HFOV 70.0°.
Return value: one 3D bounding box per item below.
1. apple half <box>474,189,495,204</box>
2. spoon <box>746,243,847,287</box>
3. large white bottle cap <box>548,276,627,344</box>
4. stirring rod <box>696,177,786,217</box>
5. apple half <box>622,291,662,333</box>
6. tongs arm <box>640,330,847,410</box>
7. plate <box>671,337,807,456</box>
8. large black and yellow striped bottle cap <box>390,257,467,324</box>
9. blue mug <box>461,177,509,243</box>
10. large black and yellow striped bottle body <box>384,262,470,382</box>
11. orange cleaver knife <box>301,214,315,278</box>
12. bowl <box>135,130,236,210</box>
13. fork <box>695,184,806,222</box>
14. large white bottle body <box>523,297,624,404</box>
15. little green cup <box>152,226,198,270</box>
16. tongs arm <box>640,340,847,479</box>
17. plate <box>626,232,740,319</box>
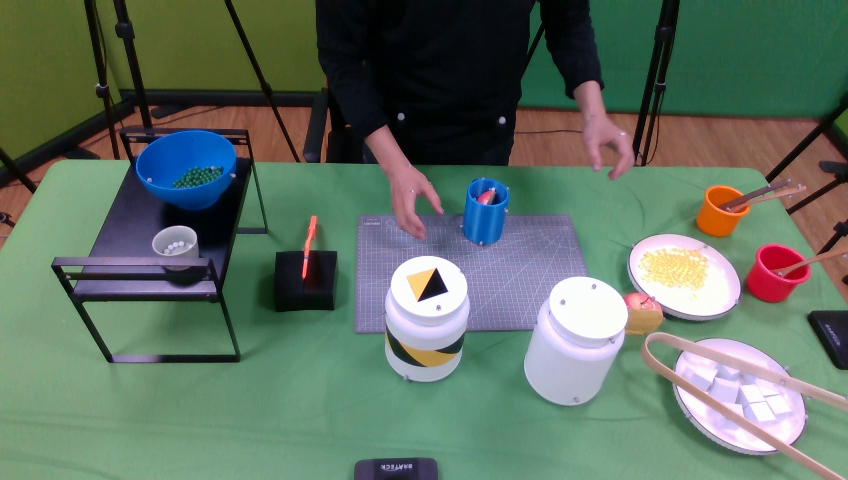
[{"bbox_3d":[0.110,-0.067,1.200,0.032,0.081,0.081,27,50,11],"label":"apple half"},{"bbox_3d":[0.702,0.044,1.126,0.194,0.022,0.041,-29,38,30],"label":"spoon"},{"bbox_3d":[0.240,0.100,0.890,0.115,0.018,0.114,3,47,-3],"label":"large white bottle cap"},{"bbox_3d":[0.648,-0.087,1.244,0.176,0.006,0.014,-25,51,29],"label":"stirring rod"},{"bbox_3d":[0.372,0.124,1.073,0.081,0.075,0.053,0,42,1],"label":"apple half"},{"bbox_3d":[0.543,0.225,0.969,0.384,0.026,0.050,22,52,13],"label":"tongs arm"},{"bbox_3d":[0.504,0.254,0.984,0.208,0.039,0.206,2,46,-2],"label":"plate"},{"bbox_3d":[0.007,0.072,0.898,0.115,0.019,0.114,2,47,-2],"label":"large black and yellow striped bottle cap"},{"bbox_3d":[0.114,-0.069,1.211,0.082,0.106,0.115,-12,48,-15],"label":"blue mug"},{"bbox_3d":[0.002,0.127,0.962,0.131,0.185,0.130,2,48,-2],"label":"large black and yellow striped bottle body"},{"bbox_3d":[-0.218,0.007,1.131,0.012,0.077,0.210,7,19,-9],"label":"orange cleaver knife"},{"bbox_3d":[-0.375,-0.102,0.977,0.151,0.077,0.150,2,46,-2],"label":"bowl"},{"bbox_3d":[0.658,-0.074,1.230,0.207,0.019,0.028,-24,33,36],"label":"fork"},{"bbox_3d":[0.235,0.159,0.952,0.131,0.185,0.130,2,47,-2],"label":"large white bottle body"},{"bbox_3d":[-0.364,0.013,0.894,0.061,0.039,0.061,3,47,-3],"label":"little green cup"},{"bbox_3d":[0.500,0.277,0.919,0.386,0.028,0.028,34,59,22],"label":"tongs arm"},{"bbox_3d":[0.488,0.071,1.157,0.209,0.038,0.208,3,46,-3],"label":"plate"}]
